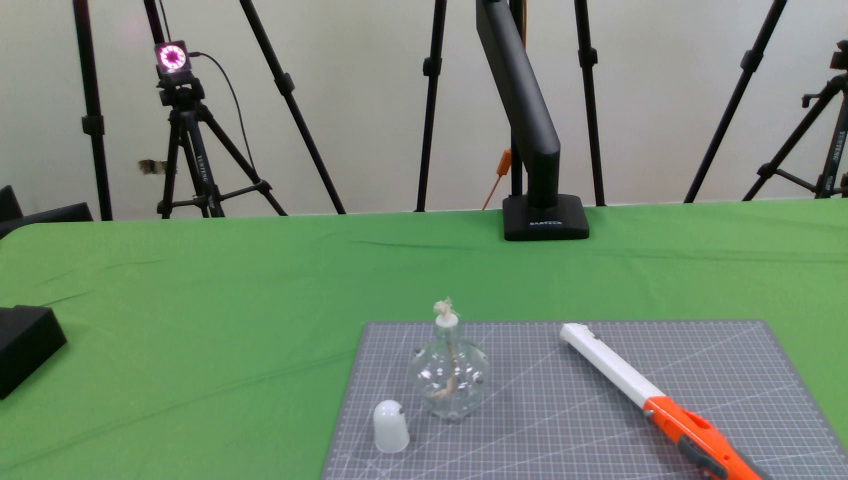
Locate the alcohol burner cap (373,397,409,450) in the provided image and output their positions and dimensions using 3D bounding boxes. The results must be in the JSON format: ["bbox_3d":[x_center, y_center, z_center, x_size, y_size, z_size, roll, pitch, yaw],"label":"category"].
[{"bbox_3d":[-0.031,0.164,0.553,0.034,0.048,0.033,-3,31,2],"label":"alcohol burner cap"}]

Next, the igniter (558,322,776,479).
[{"bbox_3d":[0.217,0.151,0.548,0.057,0.025,0.273,5,21,-29],"label":"igniter"}]

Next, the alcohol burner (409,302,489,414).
[{"bbox_3d":[0.023,0.106,0.572,0.078,0.120,0.077,-2,32,2],"label":"alcohol burner"}]
